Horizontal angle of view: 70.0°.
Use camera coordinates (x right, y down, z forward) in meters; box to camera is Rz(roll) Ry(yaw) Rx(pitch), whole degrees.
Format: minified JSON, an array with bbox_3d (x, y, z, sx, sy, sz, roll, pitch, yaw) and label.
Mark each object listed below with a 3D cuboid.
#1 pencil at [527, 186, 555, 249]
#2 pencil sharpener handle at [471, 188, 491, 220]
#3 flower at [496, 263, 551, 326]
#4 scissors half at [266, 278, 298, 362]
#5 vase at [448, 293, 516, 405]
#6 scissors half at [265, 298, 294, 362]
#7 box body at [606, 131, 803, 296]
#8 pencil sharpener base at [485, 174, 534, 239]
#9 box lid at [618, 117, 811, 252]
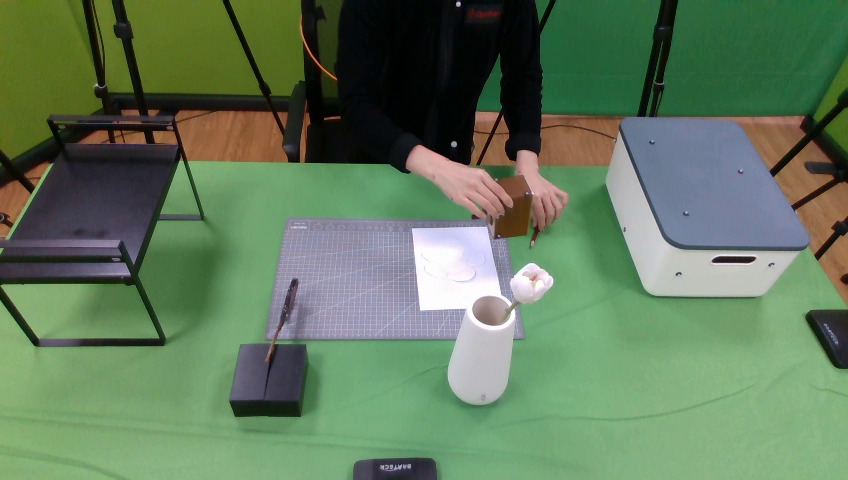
[{"bbox_3d":[0.246,-0.049,1.275,0.012,0.012,0.193,19,52,14],"label":"pencil"},{"bbox_3d":[0.102,-0.063,1.107,0.031,0.068,0.035,-8,48,-8],"label":"pencil sharpener handle"},{"bbox_3d":[0.102,0.120,0.853,0.044,0.363,0.038,-1,64,-10],"label":"flower"},{"bbox_3d":[-0.234,0.127,0.993,0.013,0.040,0.174,12,46,-4],"label":"scissors half"},{"bbox_3d":[0.091,0.169,0.921,0.098,0.201,0.097,3,47,-3],"label":"vase"},{"bbox_3d":[-0.239,0.143,1.005,0.013,0.040,0.174,17,28,-6],"label":"scissors half"},{"bbox_3d":[0.530,-0.067,1.204,0.254,0.161,0.361,0,46,-4],"label":"box body"},{"bbox_3d":[0.153,-0.061,1.122,0.077,0.107,0.061,-8,45,-8],"label":"pencil sharpener base"},{"bbox_3d":[0.534,-0.117,1.148,0.263,0.015,0.369,0,47,-3],"label":"box lid"}]
